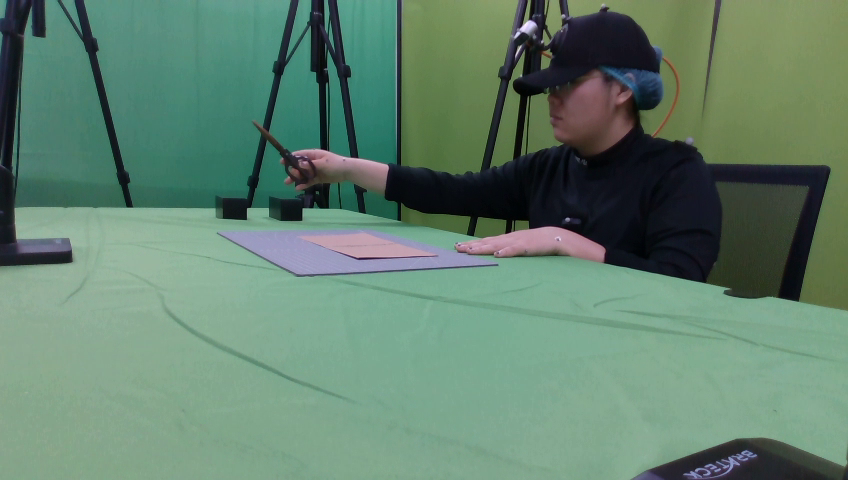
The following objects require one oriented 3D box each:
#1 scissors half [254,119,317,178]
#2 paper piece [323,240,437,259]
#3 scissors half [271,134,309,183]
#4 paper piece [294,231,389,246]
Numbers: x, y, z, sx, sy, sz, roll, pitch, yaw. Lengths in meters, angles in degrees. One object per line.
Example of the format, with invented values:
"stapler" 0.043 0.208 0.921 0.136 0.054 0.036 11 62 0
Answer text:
"scissors half" -0.298 -0.199 1.310 0.040 0.176 0.013 -33 24 37
"paper piece" -0.070 0.015 0.932 0.137 0.008 0.137 -5 11 -30
"scissors half" -0.313 -0.193 1.322 0.040 0.176 0.013 -14 34 34
"paper piece" -0.138 -0.002 1.045 0.136 0.004 0.134 -3 10 -30
